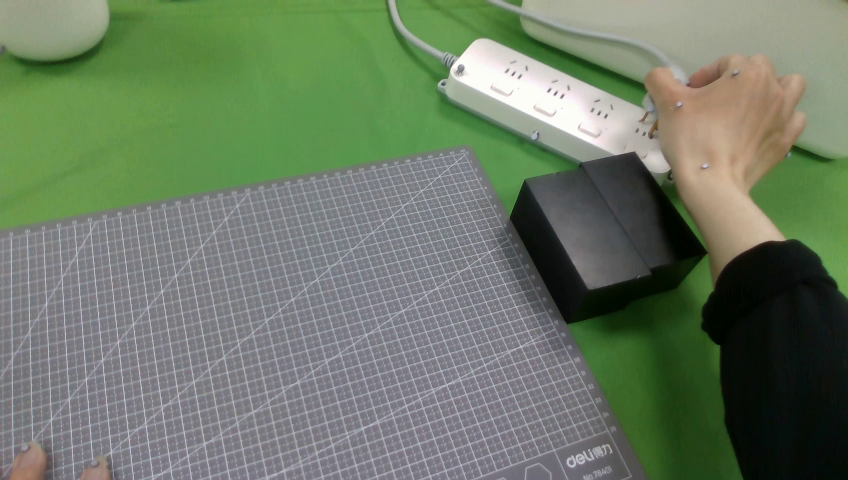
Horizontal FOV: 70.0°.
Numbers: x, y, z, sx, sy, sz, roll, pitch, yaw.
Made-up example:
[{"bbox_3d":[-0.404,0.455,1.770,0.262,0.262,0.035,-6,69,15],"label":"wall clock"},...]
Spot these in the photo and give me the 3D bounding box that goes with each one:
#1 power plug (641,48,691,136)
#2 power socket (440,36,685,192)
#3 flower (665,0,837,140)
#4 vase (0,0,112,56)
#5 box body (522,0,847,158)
[{"bbox_3d":[0.207,-0.124,0.518,0.035,0.053,0.072,28,43,1],"label":"power plug"},{"bbox_3d":[0.124,-0.115,0.540,0.226,0.033,0.072,29,56,12],"label":"power socket"},{"bbox_3d":[0.299,-0.233,0.656,0.044,0.038,0.359,-39,74,-4],"label":"flower"},{"bbox_3d":[-0.310,-0.242,0.456,0.098,0.201,0.097,5,54,-6],"label":"vase"},{"bbox_3d":[0.305,-0.264,0.591,0.363,0.161,0.253,26,56,9],"label":"box body"}]
